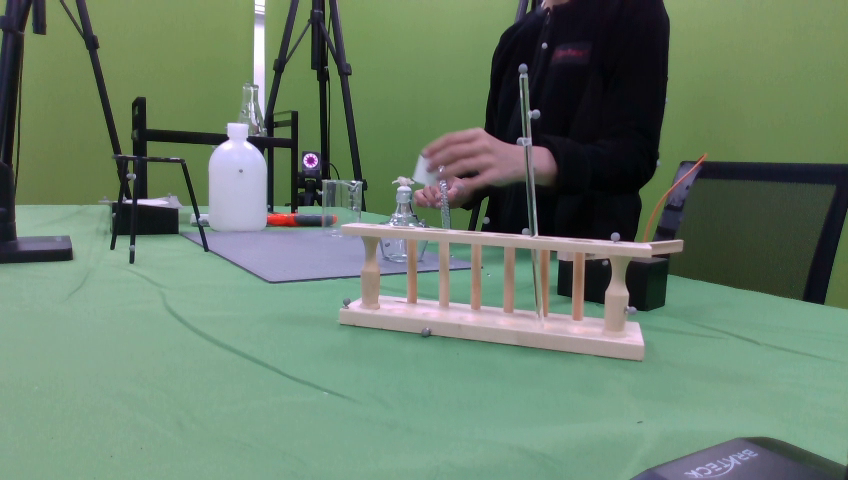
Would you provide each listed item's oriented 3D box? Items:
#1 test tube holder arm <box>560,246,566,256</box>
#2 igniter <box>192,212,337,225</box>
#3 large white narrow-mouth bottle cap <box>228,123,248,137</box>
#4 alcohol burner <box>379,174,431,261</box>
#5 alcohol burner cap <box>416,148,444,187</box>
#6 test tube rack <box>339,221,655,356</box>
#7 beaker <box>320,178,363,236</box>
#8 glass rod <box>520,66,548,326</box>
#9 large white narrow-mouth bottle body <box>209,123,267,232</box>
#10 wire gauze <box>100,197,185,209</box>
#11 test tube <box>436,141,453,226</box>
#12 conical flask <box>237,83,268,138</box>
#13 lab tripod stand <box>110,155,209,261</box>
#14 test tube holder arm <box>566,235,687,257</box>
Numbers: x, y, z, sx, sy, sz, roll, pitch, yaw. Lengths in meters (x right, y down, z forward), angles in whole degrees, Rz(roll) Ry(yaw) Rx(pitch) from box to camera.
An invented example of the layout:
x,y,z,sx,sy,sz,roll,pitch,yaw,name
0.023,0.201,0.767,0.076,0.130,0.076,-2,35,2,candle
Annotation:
x,y,z,sx,sy,sz,roll,pitch,yaw,name
0.173,0.007,0.611,0.088,0.015,0.010,-3,9,-30,test tube holder arm
-0.312,-0.042,1.203,0.278,0.025,0.057,-1,-5,-25,igniter
-0.338,-0.199,1.097,0.038,0.024,0.037,2,8,0,large white narrow-mouth bottle cap
-0.027,-0.031,0.838,0.078,0.119,0.078,0,6,0,alcohol burner
0.010,-0.095,0.784,0.034,0.048,0.034,12,20,-4,alcohol burner cap
0.056,0.032,0.495,0.242,0.085,0.067,4,7,15,test tube rack
-0.145,-0.059,1.078,0.074,0.100,0.083,-4,10,-36,beaker
0.084,-0.029,0.458,0.008,0.199,0.008,-7,11,2,glass rod
-0.340,-0.115,1.109,0.102,0.194,0.102,2,8,0,large white narrow-mouth bottle body
-0.469,-0.062,1.008,0.126,0.011,0.121,-2,8,-25,wire gauze
0.035,-0.090,1.011,0.017,0.150,0.017,-6,17,2,test tube
-0.402,-0.299,1.406,0.075,0.122,0.075,2,7,0,conical flask
-0.361,-0.046,0.806,0.148,0.131,0.148,2,5,0,lab tripod stand
0.215,0.006,0.630,0.179,0.015,0.013,-3,9,-31,test tube holder arm
